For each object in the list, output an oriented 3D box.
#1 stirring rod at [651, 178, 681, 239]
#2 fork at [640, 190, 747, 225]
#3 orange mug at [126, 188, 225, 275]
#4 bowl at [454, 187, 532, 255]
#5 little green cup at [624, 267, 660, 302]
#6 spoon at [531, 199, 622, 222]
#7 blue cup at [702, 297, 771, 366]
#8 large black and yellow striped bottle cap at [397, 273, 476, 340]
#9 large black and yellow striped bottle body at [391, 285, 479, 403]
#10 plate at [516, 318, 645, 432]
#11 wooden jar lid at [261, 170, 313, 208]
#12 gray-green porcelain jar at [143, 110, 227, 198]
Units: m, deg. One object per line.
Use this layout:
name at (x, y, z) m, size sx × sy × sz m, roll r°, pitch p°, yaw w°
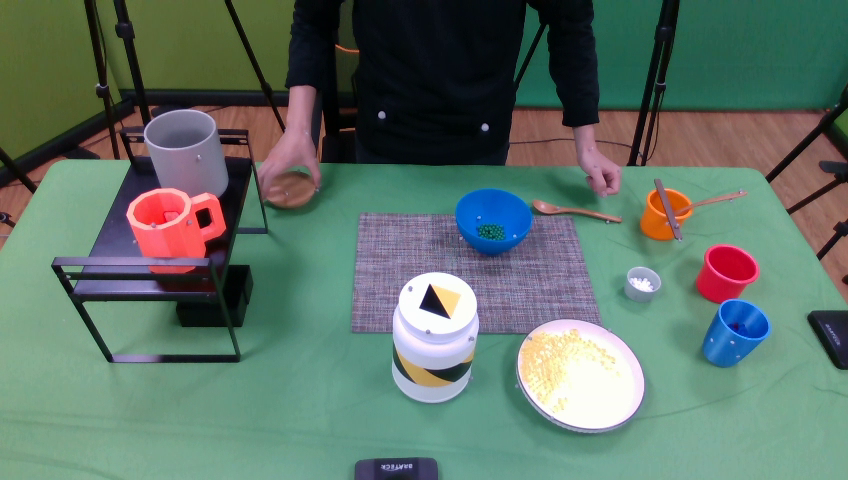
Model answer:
stirring rod at (0.480, -0.065, 1.204) m, size 0.014 × 0.006 × 0.175 m, roll 2°, pitch 46°, yaw -3°
fork at (0.533, -0.065, 1.211) m, size 0.207 × 0.019 × 0.028 m, roll -22°, pitch 28°, yaw 39°
orange mug at (-0.357, -0.020, 0.885) m, size 0.126 × 0.101 × 0.083 m, roll -29°, pitch 54°, yaw -23°
bowl at (0.131, -0.025, 1.187) m, size 0.151 × 0.077 × 0.150 m, roll 2°, pitch 46°, yaw -2°
little green cup at (0.406, 0.084, 1.135) m, size 0.061 × 0.039 × 0.061 m, roll 3°, pitch 45°, yaw -3°
spoon at (0.321, -0.060, 1.279) m, size 0.194 × 0.022 × 0.041 m, roll 8°, pitch 33°, yaw 4°
blue cup at (0.519, 0.162, 1.025) m, size 0.093 × 0.101 × 0.092 m, roll 3°, pitch 45°, yaw -3°
large black and yellow striped bottle cap at (0.018, 0.094, 0.878) m, size 0.115 × 0.019 × 0.114 m, roll 3°, pitch 46°, yaw -3°
large black and yellow striped bottle body at (0.015, 0.153, 0.938) m, size 0.131 × 0.185 × 0.130 m, roll 2°, pitch 46°, yaw -2°
plate at (0.253, 0.221, 0.992) m, size 0.209 × 0.038 × 0.208 m, roll 2°, pitch 46°, yaw -2°
wooden jar lid at (-0.285, -0.106, 1.269) m, size 0.108 × 0.021 × 0.107 m, roll 0°, pitch 45°, yaw 0°
gray-green porcelain jar at (-0.375, -0.126, 0.967) m, size 0.106 × 0.127 × 0.105 m, roll 2°, pitch 46°, yaw -2°
